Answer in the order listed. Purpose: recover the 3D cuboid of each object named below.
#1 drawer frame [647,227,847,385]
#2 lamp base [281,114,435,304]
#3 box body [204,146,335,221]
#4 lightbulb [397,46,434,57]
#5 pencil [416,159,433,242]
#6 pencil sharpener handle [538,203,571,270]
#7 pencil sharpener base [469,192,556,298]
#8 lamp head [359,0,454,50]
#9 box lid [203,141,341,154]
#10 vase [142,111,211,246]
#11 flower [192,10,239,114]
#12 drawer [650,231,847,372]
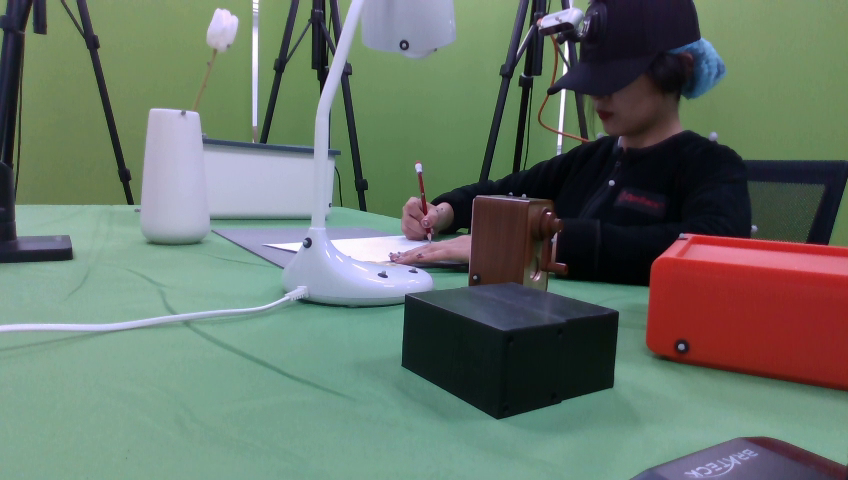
[{"bbox_3d":[0.303,0.043,0.495,0.201,0.082,0.214,6,9,26],"label":"drawer frame"},{"bbox_3d":[-0.071,-0.034,0.614,0.160,0.180,0.180,6,10,27],"label":"lamp base"},{"bbox_3d":[-0.411,-0.135,1.386,0.366,0.160,0.253,-2,9,-29],"label":"box body"},{"bbox_3d":[-0.017,-0.264,0.692,0.059,0.108,0.059,-9,29,5],"label":"lightbulb"},{"bbox_3d":[0.001,-0.073,1.082,0.012,0.193,0.012,-6,-36,-4],"label":"pencil"},{"bbox_3d":[0.137,-0.003,0.619,0.030,0.067,0.036,8,6,38],"label":"pencil sharpener handle"},{"bbox_3d":[0.097,0.003,0.652,0.076,0.107,0.061,8,9,38],"label":"pencil sharpener base"},{"bbox_3d":[-0.024,-0.282,0.674,0.112,0.123,0.112,-3,38,3],"label":"lamp head"},{"bbox_3d":[-0.396,-0.212,1.373,0.373,0.015,0.262,-1,9,-29],"label":"box lid"},{"bbox_3d":[-0.378,-0.093,0.920,0.098,0.200,0.098,2,9,0],"label":"vase"},{"bbox_3d":[-0.354,-0.174,0.915,0.038,0.361,0.044,18,-4,12],"label":"flower"},{"bbox_3d":[0.303,0.044,0.499,0.194,0.073,0.212,7,9,27],"label":"drawer"}]
